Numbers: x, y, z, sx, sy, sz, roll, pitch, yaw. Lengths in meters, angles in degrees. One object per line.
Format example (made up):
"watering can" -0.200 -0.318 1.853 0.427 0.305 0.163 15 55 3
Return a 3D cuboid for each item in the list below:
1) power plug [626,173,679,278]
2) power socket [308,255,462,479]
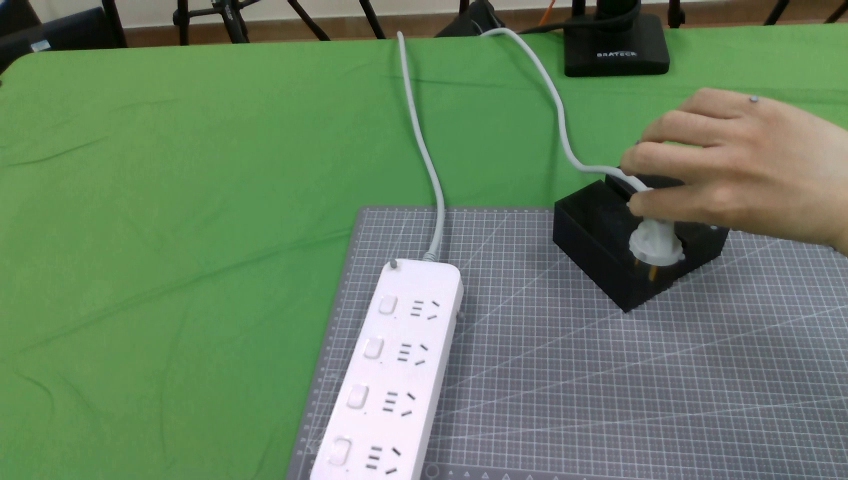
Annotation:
"power plug" 0.168 -0.010 0.446 0.035 0.053 0.072 8 39 13
"power socket" -0.023 0.102 0.474 0.072 0.033 0.225 7 51 13
